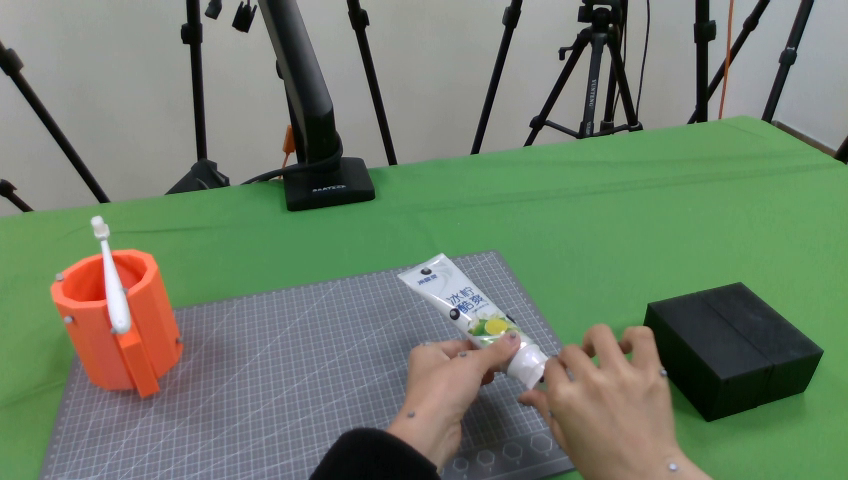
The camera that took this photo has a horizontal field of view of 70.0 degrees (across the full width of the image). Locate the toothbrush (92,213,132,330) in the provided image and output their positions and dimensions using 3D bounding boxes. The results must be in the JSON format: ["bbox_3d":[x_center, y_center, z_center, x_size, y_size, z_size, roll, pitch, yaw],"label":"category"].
[{"bbox_3d":[-0.271,0.022,0.523,0.014,0.017,0.180,-15,36,-26],"label":"toothbrush"}]

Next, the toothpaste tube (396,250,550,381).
[{"bbox_3d":[0.046,0.062,0.522,0.055,0.035,0.163,-23,47,-32],"label":"toothpaste tube"}]

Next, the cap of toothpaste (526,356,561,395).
[{"bbox_3d":[0.092,0.105,0.475,0.037,0.037,0.011,-28,51,-33],"label":"cap of toothpaste"}]

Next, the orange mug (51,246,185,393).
[{"bbox_3d":[-0.264,0.075,0.538,0.083,0.101,0.125,-22,34,-27],"label":"orange mug"}]
